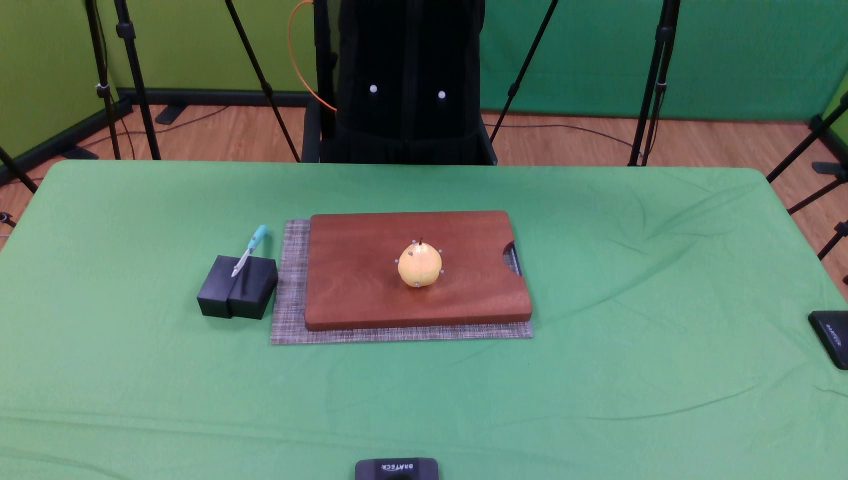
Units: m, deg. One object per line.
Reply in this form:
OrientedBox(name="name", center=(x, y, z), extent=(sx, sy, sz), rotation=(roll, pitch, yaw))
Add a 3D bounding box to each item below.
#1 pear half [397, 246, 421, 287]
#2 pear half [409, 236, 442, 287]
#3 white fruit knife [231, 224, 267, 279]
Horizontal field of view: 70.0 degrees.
OrientedBox(name="pear half", center=(-0.029, 0.046, 1.066), extent=(0.031, 0.088, 0.070), rotation=(-18, 55, -20))
OrientedBox(name="pear half", center=(0.004, 0.029, 1.070), extent=(0.056, 0.110, 0.076), rotation=(-18, 53, -20))
OrientedBox(name="white fruit knife", center=(-0.318, 0.018, 1.104), extent=(0.016, 0.027, 0.206), rotation=(11, 25, -4))
